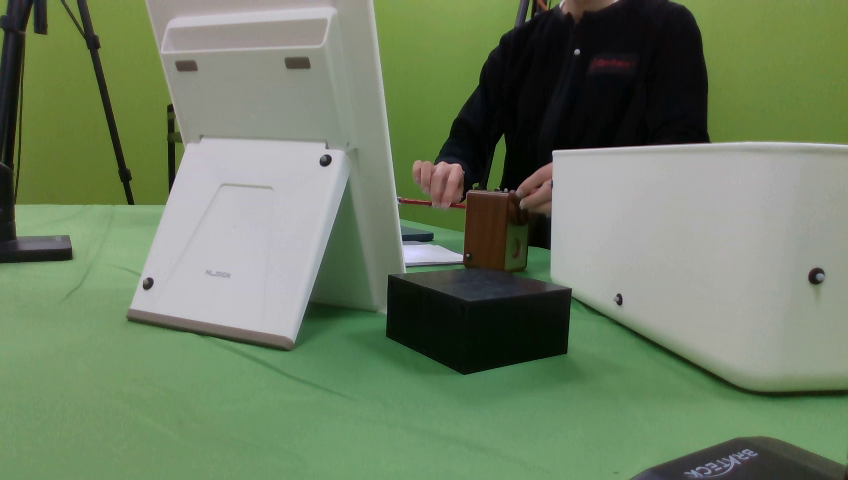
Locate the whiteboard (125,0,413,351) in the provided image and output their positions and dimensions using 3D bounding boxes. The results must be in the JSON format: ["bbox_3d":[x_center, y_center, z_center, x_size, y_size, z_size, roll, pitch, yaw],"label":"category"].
[{"bbox_3d":[-0.151,-0.050,0.471,0.216,0.305,0.144,6,27,24],"label":"whiteboard"}]

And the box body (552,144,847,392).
[{"bbox_3d":[0.290,0.002,0.549,0.255,0.160,0.363,2,7,-10],"label":"box body"}]

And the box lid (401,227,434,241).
[{"bbox_3d":[-0.196,-0.015,1.105,0.373,0.015,0.262,-1,7,-32],"label":"box lid"}]

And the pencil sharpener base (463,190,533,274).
[{"bbox_3d":[0.101,-0.012,0.814,0.076,0.107,0.062,9,9,40],"label":"pencil sharpener base"}]

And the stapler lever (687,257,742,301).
[{"bbox_3d":[0.283,0.035,0.585,0.026,0.040,0.119,11,8,37],"label":"stapler lever"}]

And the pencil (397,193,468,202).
[{"bbox_3d":[0.018,-0.062,0.881,0.193,0.012,0.012,0,5,36],"label":"pencil"}]

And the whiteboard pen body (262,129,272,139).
[{"bbox_3d":[-0.361,-0.245,1.393,0.017,0.017,0.140,0,5,-20],"label":"whiteboard pen body"}]

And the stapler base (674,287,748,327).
[{"bbox_3d":[0.281,0.061,0.586,0.041,0.024,0.131,10,8,37],"label":"stapler base"}]

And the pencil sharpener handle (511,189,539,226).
[{"bbox_3d":[0.134,-0.042,0.767,0.030,0.036,0.068,9,-25,40],"label":"pencil sharpener handle"}]

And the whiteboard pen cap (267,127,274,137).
[{"bbox_3d":[-0.340,-0.239,1.338,0.018,0.018,0.033,1,-1,-15],"label":"whiteboard pen cap"}]

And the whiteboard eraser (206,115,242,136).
[{"bbox_3d":[-0.438,-0.249,1.320,0.056,0.042,0.112,-3,9,-30],"label":"whiteboard eraser"}]
